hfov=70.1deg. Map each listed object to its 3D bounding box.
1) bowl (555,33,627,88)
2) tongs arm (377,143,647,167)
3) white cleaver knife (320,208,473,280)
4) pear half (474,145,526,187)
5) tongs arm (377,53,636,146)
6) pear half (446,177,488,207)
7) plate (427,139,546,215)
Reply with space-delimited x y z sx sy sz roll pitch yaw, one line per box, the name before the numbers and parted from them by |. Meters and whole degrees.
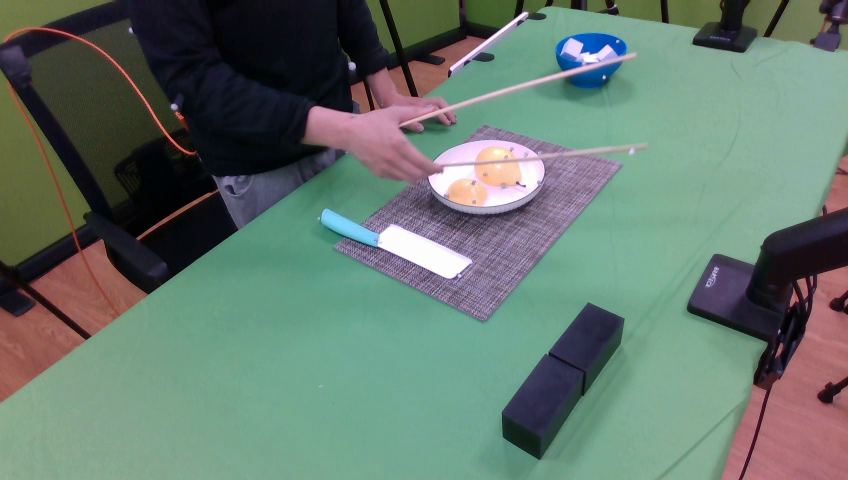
bowl | 0.360 -0.384 1.318 0.151 0.077 0.150 -4 41 4
tongs arm | 0.120 -0.136 0.880 0.384 0.051 0.026 -6 9 13
white cleaver knife | -0.053 0.001 0.978 0.284 0.021 0.066 23 41 26
pear half | 0.140 -0.129 1.059 0.076 0.056 0.109 -37 52 -24
tongs arm | 0.109 -0.203 0.872 0.386 0.028 0.028 -15 10 14
pear half | 0.073 -0.086 1.033 0.070 0.031 0.087 -20 36 -9
plate | 0.109 -0.107 1.059 0.207 0.039 0.206 -4 41 4
